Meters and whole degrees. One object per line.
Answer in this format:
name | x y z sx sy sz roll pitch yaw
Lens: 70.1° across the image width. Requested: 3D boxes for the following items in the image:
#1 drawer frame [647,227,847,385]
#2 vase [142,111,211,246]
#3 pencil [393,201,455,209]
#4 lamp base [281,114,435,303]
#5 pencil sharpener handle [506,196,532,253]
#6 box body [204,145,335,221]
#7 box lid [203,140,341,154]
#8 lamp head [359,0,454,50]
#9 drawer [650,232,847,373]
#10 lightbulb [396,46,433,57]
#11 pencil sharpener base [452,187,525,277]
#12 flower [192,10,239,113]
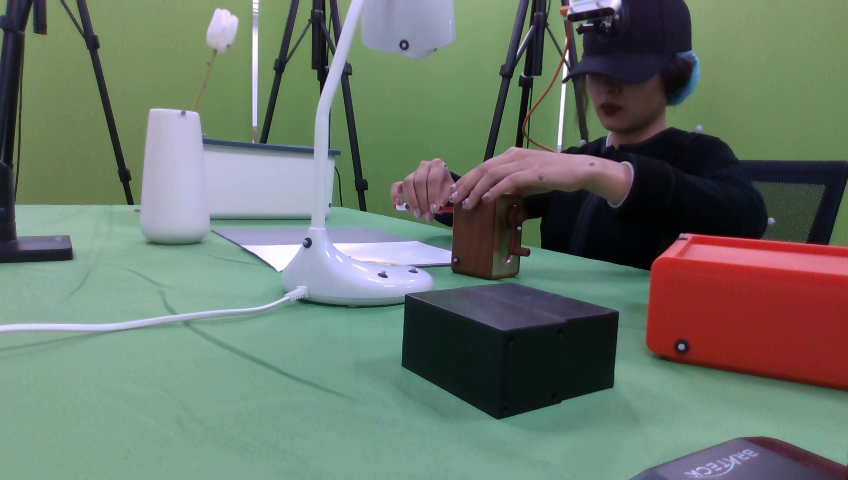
drawer frame | 0.303 0.043 0.495 0.201 0.082 0.214 6 9 26
vase | -0.378 -0.093 0.920 0.098 0.200 0.098 2 9 0
pencil | 0.023 -0.047 0.824 0.012 0.012 0.193 -5 7 -43
lamp base | -0.071 -0.035 0.614 0.160 0.180 0.180 6 10 27
pencil sharpener handle | 0.119 -0.018 0.727 0.030 0.067 0.036 9 2 43
box body | -0.411 -0.135 1.386 0.366 0.160 0.253 -2 9 -29
box lid | -0.396 -0.213 1.373 0.373 0.015 0.262 -1 9 -29
lamp head | -0.024 -0.283 0.674 0.112 0.123 0.112 -3 38 3
drawer | 0.303 0.044 0.499 0.194 0.073 0.212 6 9 27
lightbulb | -0.017 -0.265 0.692 0.059 0.108 0.059 -10 28 5
pencil sharpener base | 0.083 -0.011 0.764 0.076 0.107 0.062 9 9 43
flower | -0.354 -0.174 0.915 0.038 0.361 0.044 18 -3 12
